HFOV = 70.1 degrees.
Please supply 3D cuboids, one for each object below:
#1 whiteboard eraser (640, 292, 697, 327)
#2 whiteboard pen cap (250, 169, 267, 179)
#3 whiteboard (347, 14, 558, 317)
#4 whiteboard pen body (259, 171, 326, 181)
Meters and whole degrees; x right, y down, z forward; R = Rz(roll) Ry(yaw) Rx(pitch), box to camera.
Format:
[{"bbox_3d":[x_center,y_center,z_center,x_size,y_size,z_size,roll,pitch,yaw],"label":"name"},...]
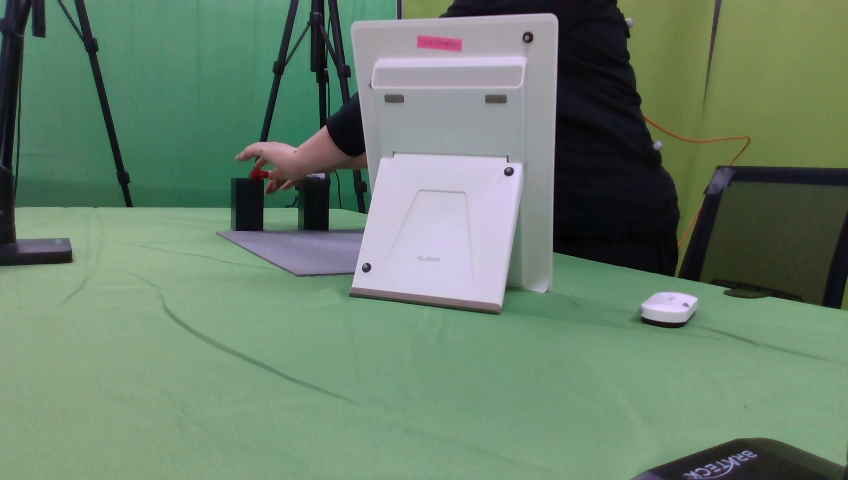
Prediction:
[{"bbox_3d":[0.240,0.066,0.590,0.041,0.019,0.102,7,7,31],"label":"whiteboard eraser"},{"bbox_3d":[-0.314,-0.126,1.155,0.032,0.017,0.017,1,7,-24],"label":"whiteboard pen cap"},{"bbox_3d":[0.012,-0.056,0.609,0.216,0.305,0.144,5,27,20],"label":"whiteboard"},{"bbox_3d":[-0.259,-0.126,1.180,0.141,0.017,0.017,0,7,-29],"label":"whiteboard pen body"}]
